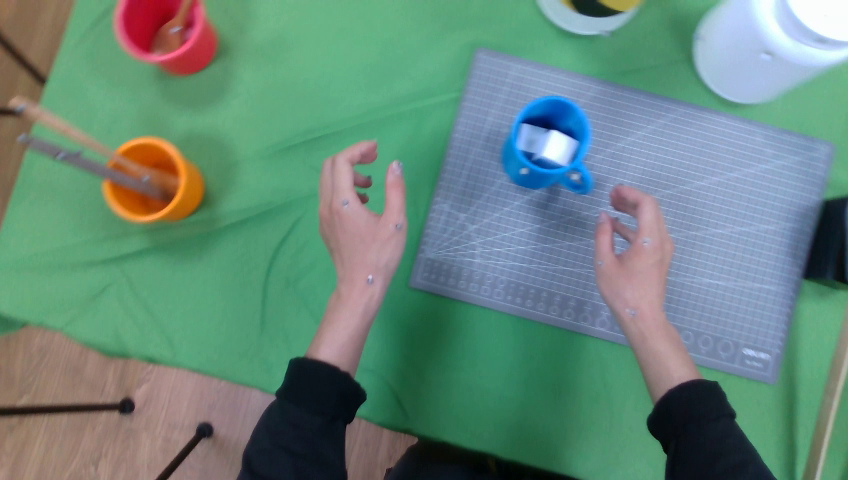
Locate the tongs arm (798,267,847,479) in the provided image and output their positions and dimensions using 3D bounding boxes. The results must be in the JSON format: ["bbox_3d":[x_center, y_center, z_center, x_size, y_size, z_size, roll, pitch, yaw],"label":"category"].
[{"bbox_3d":[0.474,0.113,0.670,0.051,0.026,0.385,10,99,-2],"label":"tongs arm"}]

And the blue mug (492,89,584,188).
[{"bbox_3d":[0.133,-0.101,0.677,0.116,0.106,0.082,45,88,2],"label":"blue mug"}]

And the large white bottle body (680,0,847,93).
[{"bbox_3d":[0.371,-0.244,0.644,0.130,0.185,0.130,0,87,0],"label":"large white bottle body"}]

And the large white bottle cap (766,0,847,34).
[{"bbox_3d":[0.370,-0.250,0.560,0.115,0.018,0.114,0,87,-1],"label":"large white bottle cap"}]

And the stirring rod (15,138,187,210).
[{"bbox_3d":[-0.344,-0.068,0.658,0.178,0.006,0.014,24,74,-39],"label":"stirring rod"}]

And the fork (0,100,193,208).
[{"bbox_3d":[-0.347,-0.090,0.657,0.209,0.018,0.028,33,87,-42],"label":"fork"}]

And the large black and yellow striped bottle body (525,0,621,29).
[{"bbox_3d":[0.178,-0.323,0.648,0.131,0.184,0.130,0,87,0],"label":"large black and yellow striped bottle body"}]

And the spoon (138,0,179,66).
[{"bbox_3d":[-0.274,-0.259,0.666,0.194,0.022,0.041,-34,83,42],"label":"spoon"}]
